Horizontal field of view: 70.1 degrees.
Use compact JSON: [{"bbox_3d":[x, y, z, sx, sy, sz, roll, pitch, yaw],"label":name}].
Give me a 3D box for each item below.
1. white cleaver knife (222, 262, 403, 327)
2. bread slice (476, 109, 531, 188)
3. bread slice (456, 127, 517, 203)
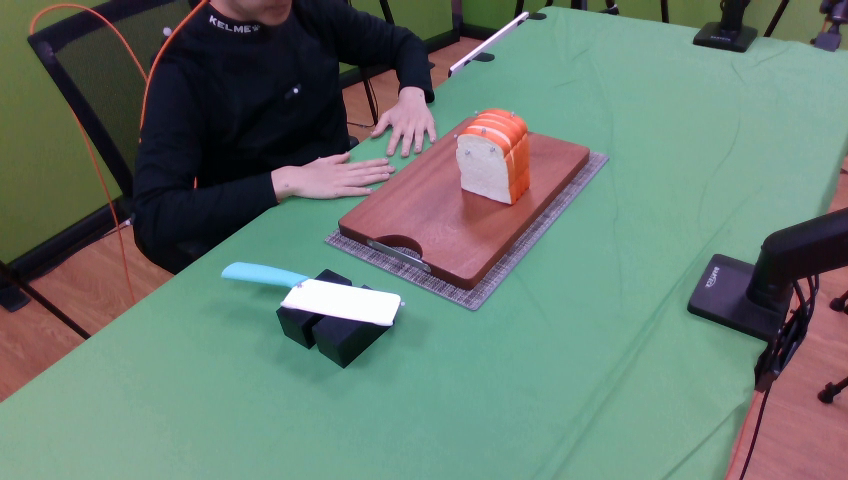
[{"bbox_3d":[-0.165,0.072,0.844,0.285,0.021,0.066,9,42,20],"label":"white cleaver knife"},{"bbox_3d":[0.130,-0.152,0.999,0.106,0.135,0.018,23,49,28],"label":"bread slice"},{"bbox_3d":[0.097,-0.121,0.969,0.104,0.132,0.019,20,54,30],"label":"bread slice"}]
